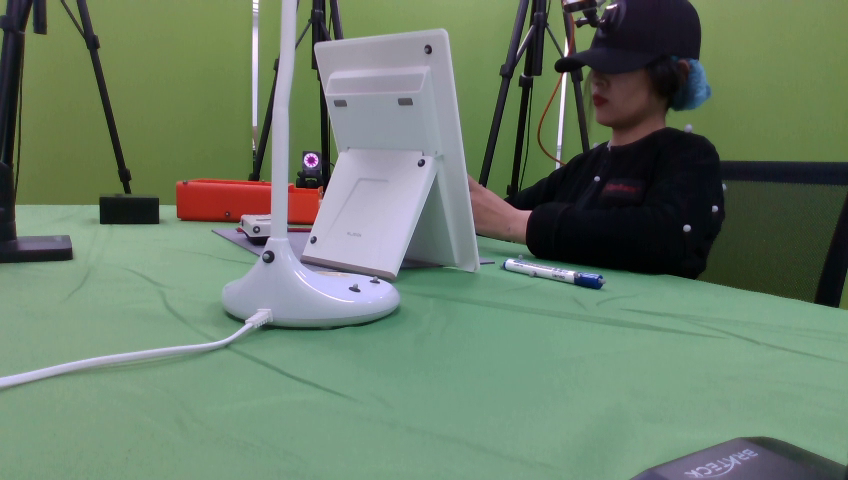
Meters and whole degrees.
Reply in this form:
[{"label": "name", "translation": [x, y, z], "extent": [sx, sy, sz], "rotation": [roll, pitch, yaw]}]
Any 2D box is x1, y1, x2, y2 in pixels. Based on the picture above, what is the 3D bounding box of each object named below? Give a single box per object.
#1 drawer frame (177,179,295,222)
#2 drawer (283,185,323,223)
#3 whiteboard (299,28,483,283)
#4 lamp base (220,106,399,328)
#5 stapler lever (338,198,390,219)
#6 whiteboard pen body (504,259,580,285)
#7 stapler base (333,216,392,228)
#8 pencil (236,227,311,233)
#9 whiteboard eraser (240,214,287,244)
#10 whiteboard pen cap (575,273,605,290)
[{"label": "drawer frame", "translation": [-0.397, -0.088, 1.315], "extent": [0.214, 0.082, 0.201], "rotation": [1, 8, -7]}, {"label": "drawer", "translation": [-0.329, -0.084, 1.326], "extent": [0.212, 0.073, 0.194], "rotation": [1, 8, -7]}, {"label": "whiteboard", "translation": [-0.075, -0.082, 0.741], "extent": [0.216, 0.305, 0.144], "rotation": [9, 30, 38]}, {"label": "lamp base", "translation": [-0.101, -0.023, 0.531], "extent": [0.160, 0.180, 0.179], "rotation": [4, 10, 10]}, {"label": "stapler lever", "translation": [-0.124, -0.064, 1.249], "extent": [0.119, 0.040, 0.026], "rotation": [0, 7, -43]}, {"label": "whiteboard pen body", "translation": [0.157, 0.042, 0.764], "extent": [0.017, 0.017, 0.140], "rotation": [-4, 10, -41]}, {"label": "stapler base", "translation": [-0.126, -0.038, 1.250], "extent": [0.131, 0.024, 0.041], "rotation": [-1, 8, -43]}, {"label": "pencil", "translation": [-0.239, -0.017, 1.093], "extent": [0.195, 0.012, 0.012], "rotation": [1, 7, -27]}, {"label": "whiteboard eraser", "translation": [-0.256, -0.018, 0.958], "extent": [0.056, 0.042, 0.112], "rotation": [0, 8, -25]}, {"label": "whiteboard pen cap", "translation": [0.197, 0.047, 0.719], "extent": [0.018, 0.018, 0.033], "rotation": [-4, 11, -41]}]
